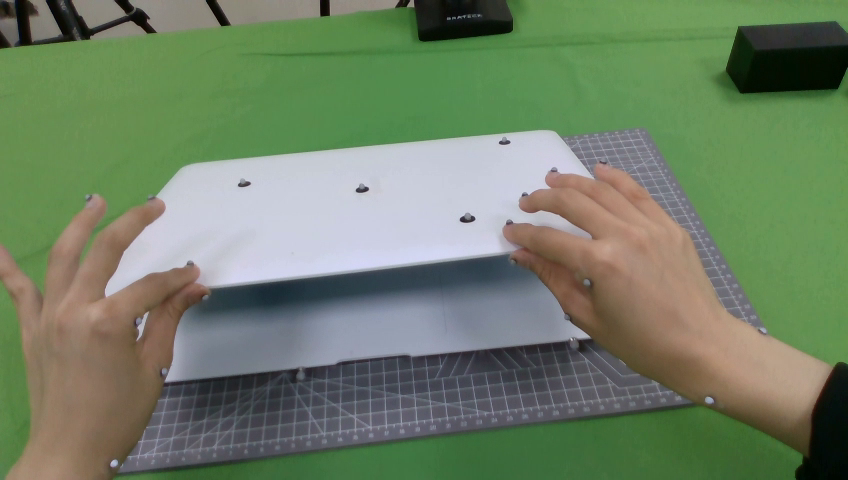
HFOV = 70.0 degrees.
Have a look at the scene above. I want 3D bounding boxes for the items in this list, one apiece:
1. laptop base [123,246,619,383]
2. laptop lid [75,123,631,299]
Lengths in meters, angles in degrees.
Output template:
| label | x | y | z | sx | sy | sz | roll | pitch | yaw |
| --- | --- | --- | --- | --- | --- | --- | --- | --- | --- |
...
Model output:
| label | x | y | z | sx | sy | sz | roll | pitch | yaw |
| --- | --- | --- | --- | --- | --- | --- | --- | --- | --- |
| laptop base | -0.045 | 0.001 | 0.503 | 0.354 | 0.023 | 0.233 | -6 | 49 | -1 |
| laptop lid | -0.049 | -0.038 | 0.471 | 0.357 | 0.013 | 0.239 | -5 | 28 | 1 |
